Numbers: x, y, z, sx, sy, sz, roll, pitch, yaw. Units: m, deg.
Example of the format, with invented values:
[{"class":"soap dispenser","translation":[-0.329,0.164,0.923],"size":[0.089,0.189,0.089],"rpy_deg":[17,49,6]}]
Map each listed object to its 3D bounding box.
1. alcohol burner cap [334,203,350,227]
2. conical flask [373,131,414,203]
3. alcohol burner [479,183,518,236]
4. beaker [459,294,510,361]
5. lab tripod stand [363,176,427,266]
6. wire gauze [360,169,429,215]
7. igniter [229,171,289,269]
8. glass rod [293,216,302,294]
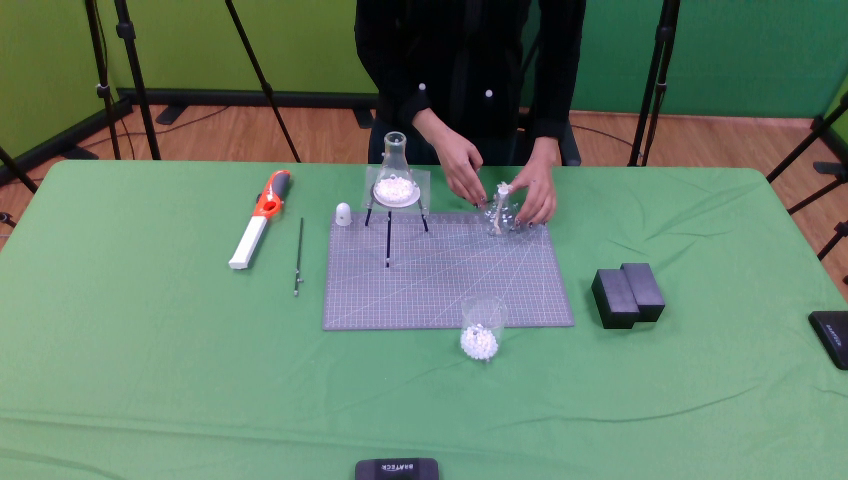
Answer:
[{"class":"alcohol burner cap","translation":[-0.166,-0.054,1.220],"size":[0.034,0.048,0.033],"rpy_deg":[2,46,-2]},{"class":"conical flask","translation":[-0.053,-0.131,1.067],"size":[0.075,0.122,0.075],"rpy_deg":[2,44,-2]},{"class":"alcohol burner","translation":[0.151,-0.065,1.208],"size":[0.078,0.119,0.077],"rpy_deg":[3,45,-3]},{"class":"beaker","translation":[0.095,0.147,1.012],"size":[0.083,0.101,0.074],"rpy_deg":[26,49,21]},{"class":"lab tripod stand","translation":[-0.058,-0.047,1.159],"size":[0.148,0.132,0.147],"rpy_deg":[3,44,-2]},{"class":"wire gauze","translation":[-0.052,-0.092,1.111],"size":[0.125,0.011,0.120],"rpy_deg":[3,43,1]},{"class":"igniter","translation":[-0.328,-0.049,1.218],"size":[0.057,0.025,0.275],"rpy_deg":[1,45,11]},{"class":"glass rod","translation":[-0.243,0.024,1.166],"size":[0.008,0.008,0.198],"rpy_deg":[-2,47,-5]}]
